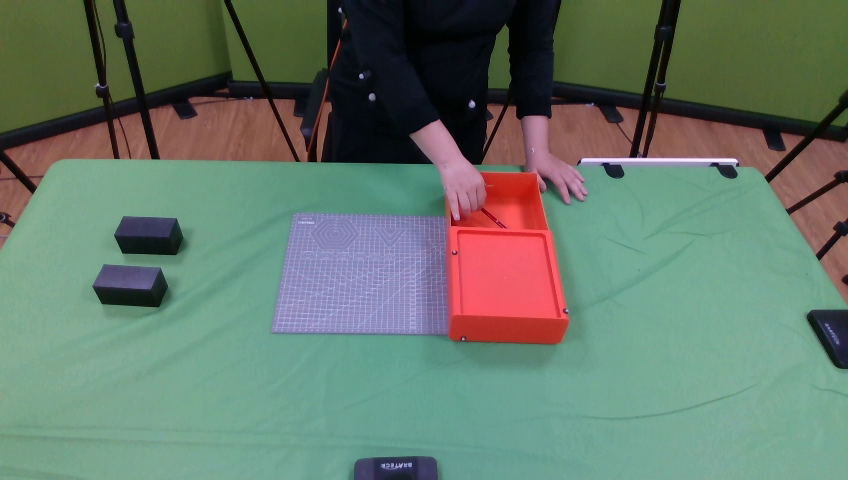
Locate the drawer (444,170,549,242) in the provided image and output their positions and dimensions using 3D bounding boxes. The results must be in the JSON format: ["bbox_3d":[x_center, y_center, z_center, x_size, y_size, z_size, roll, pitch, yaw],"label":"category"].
[{"bbox_3d":[0.141,-0.050,1.216,0.194,0.073,0.210,2,43,-3],"label":"drawer"}]

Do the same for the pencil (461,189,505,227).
[{"bbox_3d":[0.140,-0.043,1.214,0.012,0.012,0.193,-31,63,-30],"label":"pencil"}]

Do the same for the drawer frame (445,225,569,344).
[{"bbox_3d":[0.141,0.076,1.089,0.202,0.083,0.212,2,47,-3],"label":"drawer frame"}]
